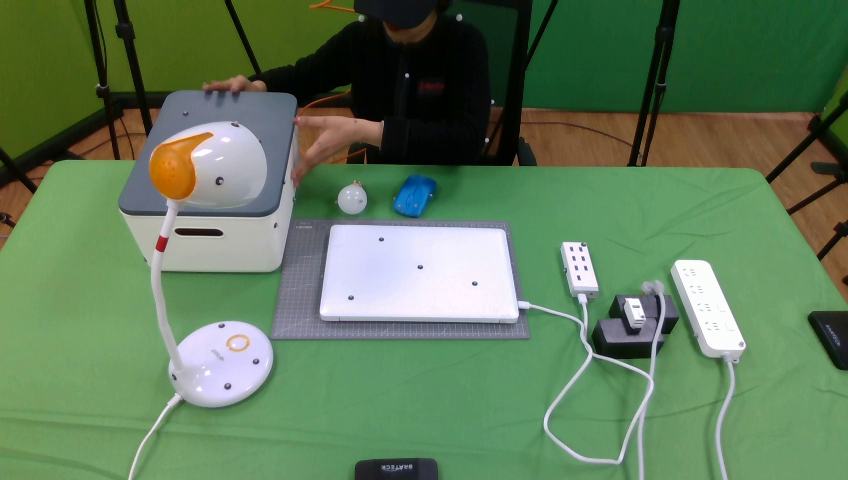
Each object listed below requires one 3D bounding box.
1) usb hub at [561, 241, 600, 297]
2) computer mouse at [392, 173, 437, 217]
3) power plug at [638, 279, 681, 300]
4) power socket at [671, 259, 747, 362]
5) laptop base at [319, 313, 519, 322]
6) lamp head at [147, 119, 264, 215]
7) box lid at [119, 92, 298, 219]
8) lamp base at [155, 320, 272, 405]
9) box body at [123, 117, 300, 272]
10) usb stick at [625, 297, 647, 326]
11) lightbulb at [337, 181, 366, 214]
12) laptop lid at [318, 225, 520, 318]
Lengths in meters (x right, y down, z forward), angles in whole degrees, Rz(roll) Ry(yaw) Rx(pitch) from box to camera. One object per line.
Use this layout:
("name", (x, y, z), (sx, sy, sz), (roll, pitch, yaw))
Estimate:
("usb hub", (0.300, 0.055, 1.162), (0.049, 0.025, 0.124), (2, 46, -3))
("computer mouse", (-0.018, -0.099, 1.282), (0.062, 0.041, 0.117), (20, 52, 13))
("power plug", (0.434, 0.099, 1.118), (0.073, 0.053, 0.035), (34, 37, -15))
("power socket", (0.516, 0.119, 1.108), (0.072, 0.033, 0.225), (1, 46, -2))
("laptop base", (-0.009, 0.062, 1.137), (0.354, 0.023, 0.234), (1, 42, -3))
("lamp head", (-0.276, -0.087, 0.740), (0.112, 0.112, 0.123), (20, 23, 15))
("box lid", (-0.383, -0.169, 1.125), (0.263, 0.015, 0.369), (0, 45, -4))
("lamp base", (-0.330, 0.149, 0.918), (0.160, 0.181, 0.179), (26, 52, 20))
("box body", (-0.387, -0.112, 1.182), (0.254, 0.161, 0.361), (1, 46, -3))
("usb stick", (0.360, 0.116, 1.034), (0.021, 0.027, 0.059), (-2, 44, -2))
("lightbulb", (-0.147, -0.094, 1.261), (0.059, 0.060, 0.107), (4, 30, 0))
("laptop lid", (-0.009, 0.052, 1.131), (0.357, 0.013, 0.240), (2, 43, -2))
